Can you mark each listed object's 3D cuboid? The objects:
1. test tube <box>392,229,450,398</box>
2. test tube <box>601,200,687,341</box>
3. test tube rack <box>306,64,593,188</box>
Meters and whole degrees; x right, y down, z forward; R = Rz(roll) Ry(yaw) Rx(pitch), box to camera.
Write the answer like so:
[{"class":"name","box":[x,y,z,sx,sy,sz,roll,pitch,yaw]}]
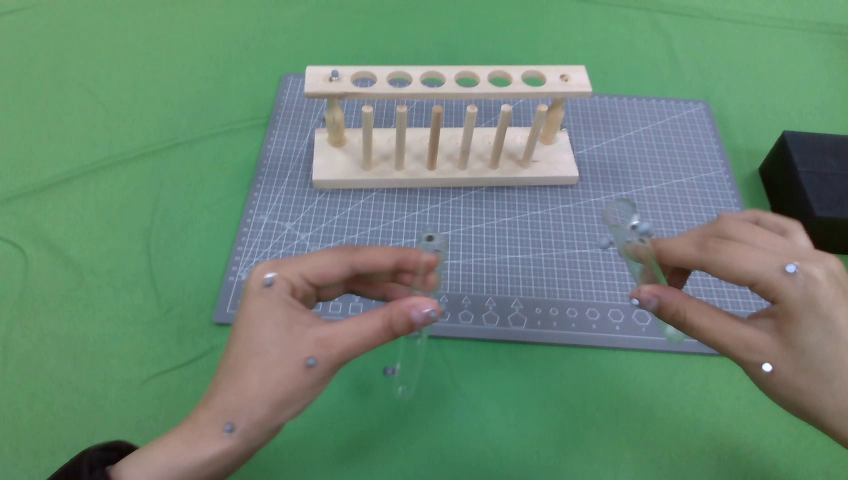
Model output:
[{"class":"test tube","box":[-0.004,0.050,0.346,0.017,0.151,0.017,5,47,-5]},{"class":"test tube","box":[0.123,0.023,0.328,0.017,0.152,0.017,-16,54,24]},{"class":"test tube rack","box":[0.022,-0.101,0.539,0.243,0.086,0.066,-1,54,-4]}]
